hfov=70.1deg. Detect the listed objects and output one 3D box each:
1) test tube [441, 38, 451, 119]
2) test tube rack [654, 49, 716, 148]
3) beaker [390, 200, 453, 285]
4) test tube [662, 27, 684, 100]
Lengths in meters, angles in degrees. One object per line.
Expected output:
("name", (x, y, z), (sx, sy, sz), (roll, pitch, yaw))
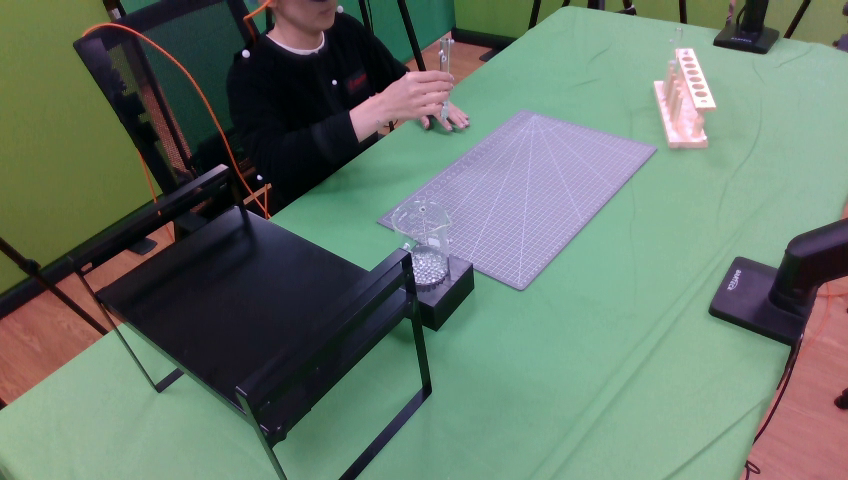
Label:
("test tube", (0.037, -0.274, 1.038), (0.017, 0.151, 0.017), (0, 45, 1))
("test tube rack", (0.502, -0.281, 1.176), (0.066, 0.085, 0.241), (2, 42, 11))
("beaker", (0.002, 0.006, 0.831), (0.084, 0.101, 0.074), (5, 42, 13))
("test tube", (0.486, -0.342, 1.181), (0.017, 0.151, 0.017), (-3, 42, 3))
